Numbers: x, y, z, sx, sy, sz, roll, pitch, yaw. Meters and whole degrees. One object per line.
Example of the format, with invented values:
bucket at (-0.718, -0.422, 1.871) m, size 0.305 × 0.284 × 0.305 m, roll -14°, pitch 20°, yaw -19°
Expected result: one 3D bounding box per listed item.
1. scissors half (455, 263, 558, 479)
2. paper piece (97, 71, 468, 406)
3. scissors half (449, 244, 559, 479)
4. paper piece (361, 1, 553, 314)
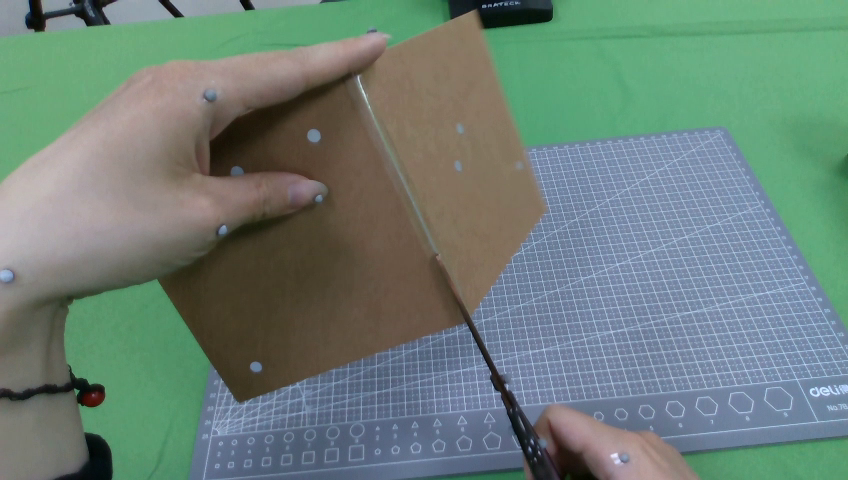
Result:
scissors half at (0.045, 0.082, 0.299) m, size 0.013 × 0.040 × 0.175 m, roll -22°, pitch 88°, yaw 1°
paper piece at (-0.068, 0.008, 0.298) m, size 0.138 × 0.136 × 0.008 m, roll -22°, pitch 15°, yaw 12°
scissors half at (0.045, 0.077, 0.321) m, size 0.013 × 0.176 × 0.039 m, roll -21°, pitch 24°, yaw 6°
paper piece at (0.031, -0.052, 0.332) m, size 0.004 × 0.136 × 0.135 m, roll -8°, pitch 23°, yaw 37°
